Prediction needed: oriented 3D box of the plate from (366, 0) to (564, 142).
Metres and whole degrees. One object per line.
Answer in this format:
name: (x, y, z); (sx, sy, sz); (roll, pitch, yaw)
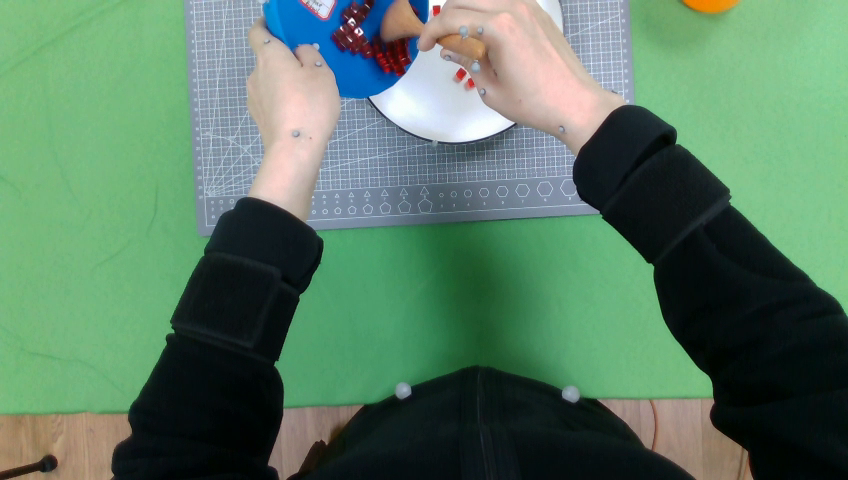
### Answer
plate: (0.031, -0.199, 0.595); (0.209, 0.038, 0.209); (0, 91, 3)

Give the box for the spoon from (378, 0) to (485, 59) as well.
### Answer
spoon: (0.003, -0.160, 0.458); (0.022, 0.191, 0.042); (20, 105, -34)

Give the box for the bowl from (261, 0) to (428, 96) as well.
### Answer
bowl: (-0.078, -0.202, 0.505); (0.076, 0.153, 0.151); (24, 92, 43)
